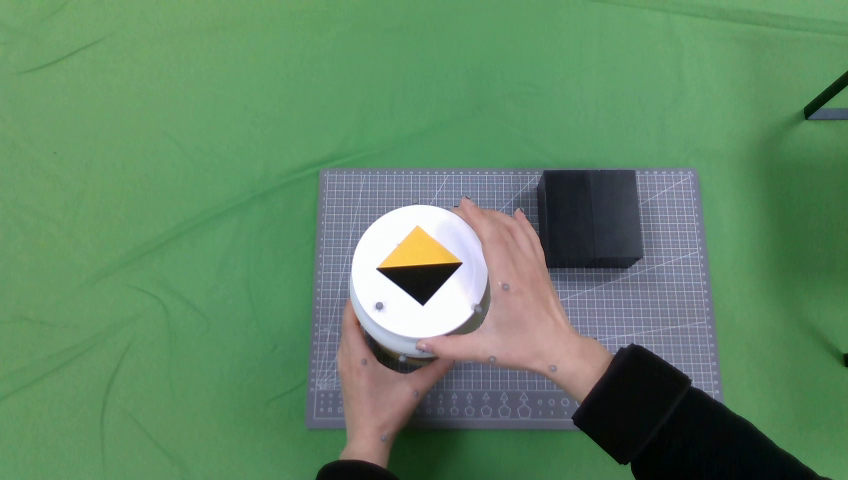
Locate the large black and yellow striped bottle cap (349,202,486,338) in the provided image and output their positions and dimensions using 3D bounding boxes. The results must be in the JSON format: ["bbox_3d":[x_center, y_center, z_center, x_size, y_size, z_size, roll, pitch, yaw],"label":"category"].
[{"bbox_3d":[-0.006,0.024,0.506,0.115,0.019,0.114,0,74,0],"label":"large black and yellow striped bottle cap"}]

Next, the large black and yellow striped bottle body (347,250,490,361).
[{"bbox_3d":[-0.004,0.047,0.595,0.131,0.185,0.130,0,75,0],"label":"large black and yellow striped bottle body"}]
